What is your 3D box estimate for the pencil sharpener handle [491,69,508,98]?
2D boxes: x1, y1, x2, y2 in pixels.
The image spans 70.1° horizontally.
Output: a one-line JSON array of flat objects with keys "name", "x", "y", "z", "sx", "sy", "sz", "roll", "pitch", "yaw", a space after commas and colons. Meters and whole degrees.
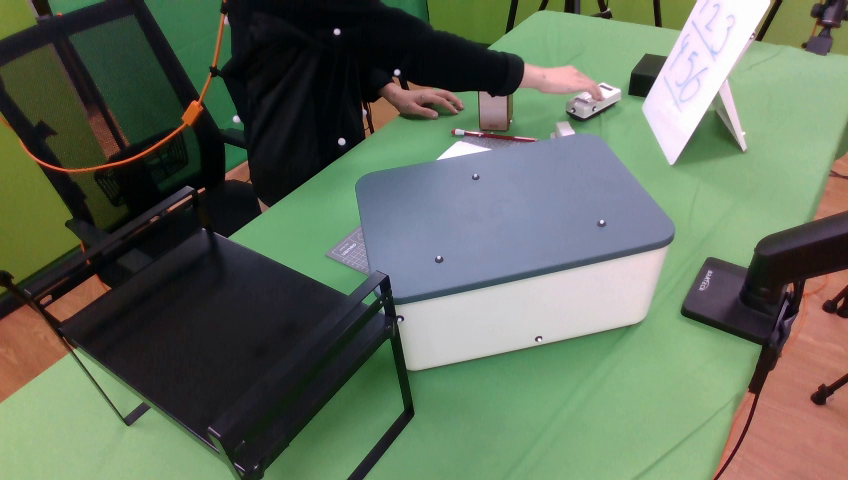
[{"name": "pencil sharpener handle", "x": 0.155, "y": -0.330, "z": 1.254, "sx": 0.036, "sy": 0.068, "sz": 0.030, "roll": 18, "pitch": 44, "yaw": 3}]

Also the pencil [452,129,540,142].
[{"name": "pencil", "x": 0.147, "y": -0.207, "z": 1.206, "sx": 0.193, "sy": 0.012, "sz": 0.012, "roll": 10, "pitch": 43, "yaw": 19}]

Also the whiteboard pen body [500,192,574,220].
[{"name": "whiteboard pen body", "x": 0.191, "y": -0.059, "z": 1.011, "sx": 0.141, "sy": 0.017, "sz": 0.017, "roll": -18, "pitch": 41, "yaw": -16}]

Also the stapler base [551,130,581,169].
[{"name": "stapler base", "x": 0.268, "y": -0.178, "z": 1.142, "sx": 0.041, "sy": 0.024, "sz": 0.130, "roll": 0, "pitch": 37, "yaw": 3}]

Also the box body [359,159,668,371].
[{"name": "box body", "x": 0.108, "y": 0.014, "z": 0.833, "sx": 0.365, "sy": 0.161, "sz": 0.252, "roll": -11, "pitch": 41, "yaw": -5}]

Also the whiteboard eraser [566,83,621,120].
[{"name": "whiteboard eraser", "x": 0.348, "y": -0.283, "z": 1.242, "sx": 0.113, "sy": 0.042, "sz": 0.055, "roll": -30, "pitch": 43, "yaw": -23}]

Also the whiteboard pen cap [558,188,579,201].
[{"name": "whiteboard pen cap", "x": 0.245, "y": -0.077, "z": 1.028, "sx": 0.033, "sy": 0.018, "sz": 0.018, "roll": -18, "pitch": 42, "yaw": -15}]

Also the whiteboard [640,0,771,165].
[{"name": "whiteboard", "x": 0.543, "y": -0.299, "z": 1.076, "sx": 0.144, "sy": 0.305, "sz": 0.216, "roll": 12, "pitch": 40, "yaw": -7}]

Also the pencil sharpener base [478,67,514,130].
[{"name": "pencil sharpener base", "x": 0.148, "y": -0.287, "z": 1.224, "sx": 0.061, "sy": 0.107, "sz": 0.076, "roll": 5, "pitch": 41, "yaw": 15}]

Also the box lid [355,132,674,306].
[{"name": "box lid", "x": 0.103, "y": -0.042, "z": 0.785, "sx": 0.372, "sy": 0.015, "sz": 0.261, "roll": -12, "pitch": 41, "yaw": -5}]

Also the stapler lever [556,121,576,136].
[{"name": "stapler lever", "x": 0.266, "y": -0.198, "z": 1.128, "sx": 0.027, "sy": 0.040, "sz": 0.117, "roll": 0, "pitch": 38, "yaw": 3}]
